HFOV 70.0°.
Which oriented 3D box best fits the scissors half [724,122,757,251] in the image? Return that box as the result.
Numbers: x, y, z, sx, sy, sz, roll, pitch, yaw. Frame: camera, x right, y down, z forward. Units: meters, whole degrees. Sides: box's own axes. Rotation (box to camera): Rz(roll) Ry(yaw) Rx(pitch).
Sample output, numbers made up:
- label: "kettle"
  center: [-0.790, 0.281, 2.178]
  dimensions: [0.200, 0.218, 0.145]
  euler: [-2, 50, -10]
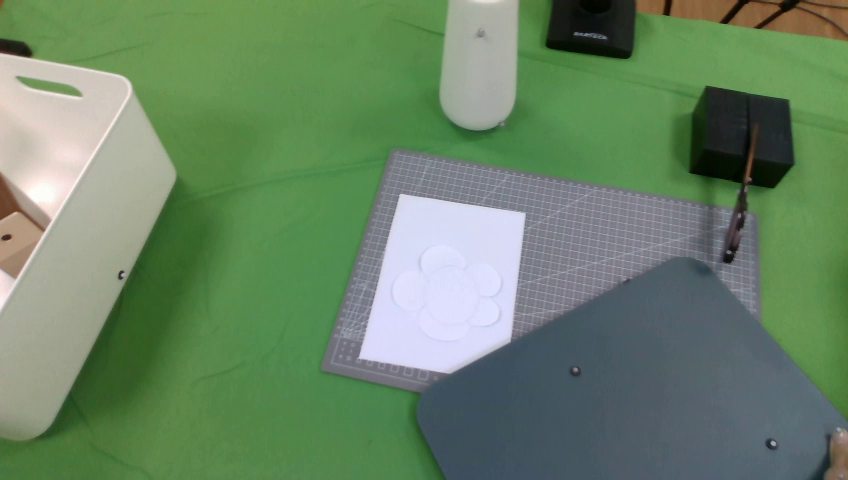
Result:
- label: "scissors half"
  center: [0.358, -0.064, 0.675]
  dimensions: [0.013, 0.040, 0.174]
  euler: [16, 63, 19]

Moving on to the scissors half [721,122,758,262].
- label: "scissors half"
  center: [0.364, -0.057, 0.694]
  dimensions: [0.012, 0.040, 0.174]
  euler: [14, 81, 24]

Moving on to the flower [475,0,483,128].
- label: "flower"
  center: [0.062, -0.277, 0.652]
  dimensions: [0.044, 0.365, 0.038]
  euler: [4, 44, 7]

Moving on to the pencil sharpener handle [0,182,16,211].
- label: "pencil sharpener handle"
  center: [-0.479, -0.057, 0.666]
  dimensions: [0.036, 0.068, 0.030]
  euler: [-37, 66, -12]

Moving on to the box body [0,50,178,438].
- label: "box body"
  center: [-0.453, -0.003, 0.626]
  dimensions: [0.254, 0.161, 0.361]
  euler: [11, 62, 7]

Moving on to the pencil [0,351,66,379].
- label: "pencil"
  center: [-0.466, 0.116, 0.642]
  dimensions: [0.194, 0.012, 0.012]
  euler: [17, 63, 7]

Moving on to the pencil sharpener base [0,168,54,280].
- label: "pencil sharpener base"
  center: [-0.448, -0.016, 0.656]
  dimensions: [0.061, 0.108, 0.076]
  euler: [-35, 65, -16]

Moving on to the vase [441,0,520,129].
- label: "vase"
  center: [0.067, -0.225, 0.719]
  dimensions: [0.098, 0.201, 0.097]
  euler: [-1, 60, 2]

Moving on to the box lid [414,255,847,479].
- label: "box lid"
  center: [0.203, 0.181, 0.594]
  dimensions: [0.372, 0.015, 0.260]
  euler: [-25, 61, -12]
